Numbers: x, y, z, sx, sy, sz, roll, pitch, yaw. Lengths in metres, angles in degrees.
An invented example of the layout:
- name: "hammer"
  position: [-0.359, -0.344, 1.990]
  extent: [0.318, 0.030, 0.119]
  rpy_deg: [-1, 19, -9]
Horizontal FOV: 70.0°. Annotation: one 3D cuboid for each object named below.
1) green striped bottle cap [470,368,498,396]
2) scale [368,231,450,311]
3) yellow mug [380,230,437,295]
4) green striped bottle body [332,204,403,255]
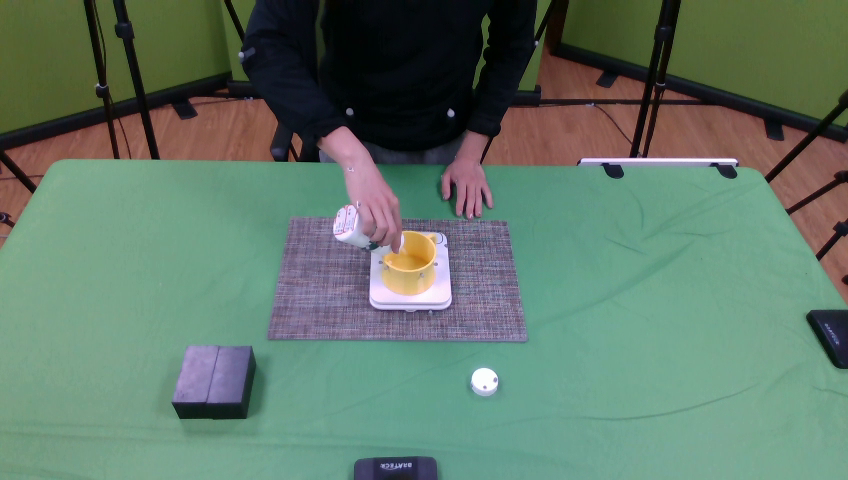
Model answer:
- name: "green striped bottle cap"
  position: [0.098, 0.231, 0.989]
  extent: [0.044, 0.020, 0.044]
  rpy_deg: [2, 43, -2]
- name: "scale"
  position: [-0.029, 0.048, 1.137]
  extent: [0.149, 0.032, 0.199]
  rpy_deg: [1, 46, -4]
- name: "yellow mug"
  position: [-0.020, 0.030, 1.089]
  extent: [0.099, 0.064, 0.130]
  rpy_deg: [31, 51, 24]
- name: "green striped bottle body"
  position: [-0.090, -0.013, 1.016]
  extent: [0.120, 0.063, 0.062]
  rpy_deg: [22, 30, -43]
